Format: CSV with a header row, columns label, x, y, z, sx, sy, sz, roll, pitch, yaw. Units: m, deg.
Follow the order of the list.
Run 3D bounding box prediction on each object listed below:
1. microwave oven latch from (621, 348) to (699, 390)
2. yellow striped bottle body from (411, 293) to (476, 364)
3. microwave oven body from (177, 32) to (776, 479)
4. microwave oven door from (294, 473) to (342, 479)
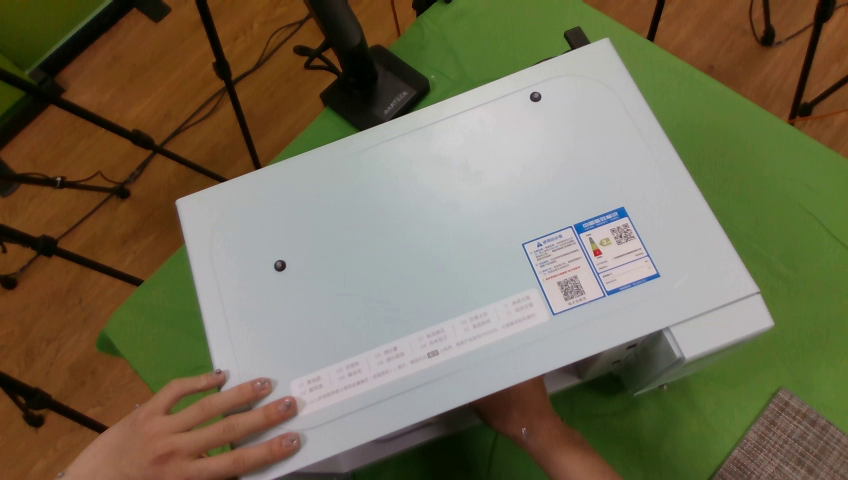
label,x,y,z,sx,sy,sz,roll,pitch,yaw
microwave oven latch,0.261,0.140,0.671,0.079,0.030,0.030,-19,69,1
yellow striped bottle body,0.022,0.090,0.614,0.063,0.121,0.062,-1,75,5
microwave oven body,0.034,0.041,0.632,0.442,0.262,0.323,-21,69,0
microwave oven door,0.025,0.317,0.524,0.354,0.245,0.039,28,75,16
